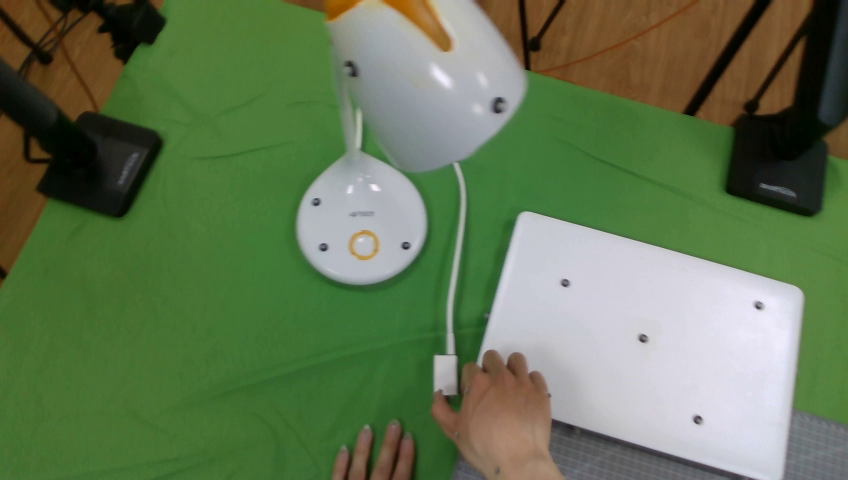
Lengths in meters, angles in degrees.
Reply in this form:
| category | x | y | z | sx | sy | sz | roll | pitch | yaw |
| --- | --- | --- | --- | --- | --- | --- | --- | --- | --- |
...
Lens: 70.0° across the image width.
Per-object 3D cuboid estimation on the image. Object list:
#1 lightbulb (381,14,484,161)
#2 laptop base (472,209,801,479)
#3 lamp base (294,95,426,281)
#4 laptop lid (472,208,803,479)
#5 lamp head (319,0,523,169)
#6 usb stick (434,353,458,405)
| category | x | y | z | sx | sy | sz | roll | pitch | yaw |
| --- | --- | --- | --- | --- | --- | --- | --- | --- | --- |
| lightbulb | 0.003 | -0.102 | 0.410 | 0.059 | 0.109 | 0.059 | -18 | 39 | 16 |
| laptop base | 0.252 | 0.114 | 0.711 | 0.354 | 0.023 | 0.234 | 16 | 74 | 4 |
| lamp base | -0.080 | -0.063 | 0.674 | 0.161 | 0.181 | 0.178 | -13 | 69 | -6 |
| laptop lid | 0.252 | 0.112 | 0.699 | 0.356 | 0.013 | 0.240 | 17 | 73 | 4 |
| lamp head | -0.012 | -0.126 | 0.399 | 0.124 | 0.111 | 0.112 | 47 | 71 | -30 |
| usb stick | 0.024 | 0.157 | 0.684 | 0.027 | 0.021 | 0.059 | 2 | 81 | -2 |
